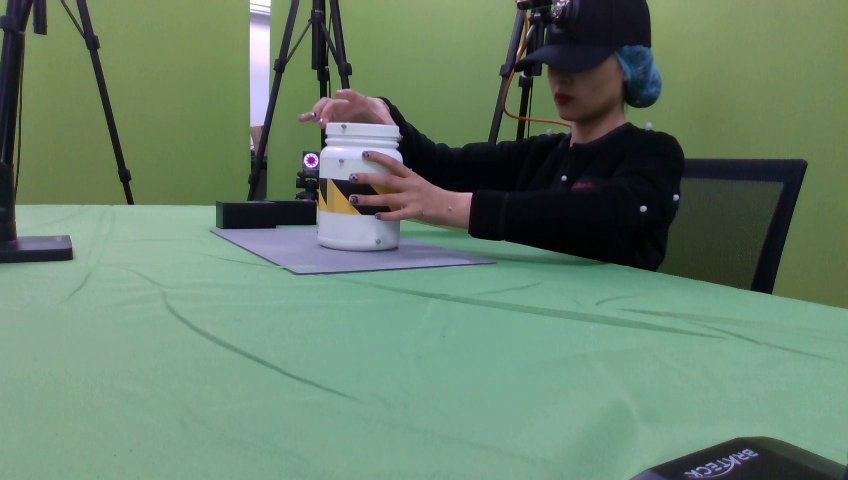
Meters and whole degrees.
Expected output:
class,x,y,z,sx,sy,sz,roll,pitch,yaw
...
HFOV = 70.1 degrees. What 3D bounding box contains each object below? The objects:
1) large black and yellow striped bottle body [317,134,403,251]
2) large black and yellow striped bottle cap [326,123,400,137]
class,x,y,z,sx,sy,sz,roll,pitch,yaw
large black and yellow striped bottle body,-0.100,-0.081,0.952,0.131,0.184,0.130,3,7,0
large black and yellow striped bottle cap,-0.095,-0.171,0.940,0.115,0.019,0.115,1,11,0
